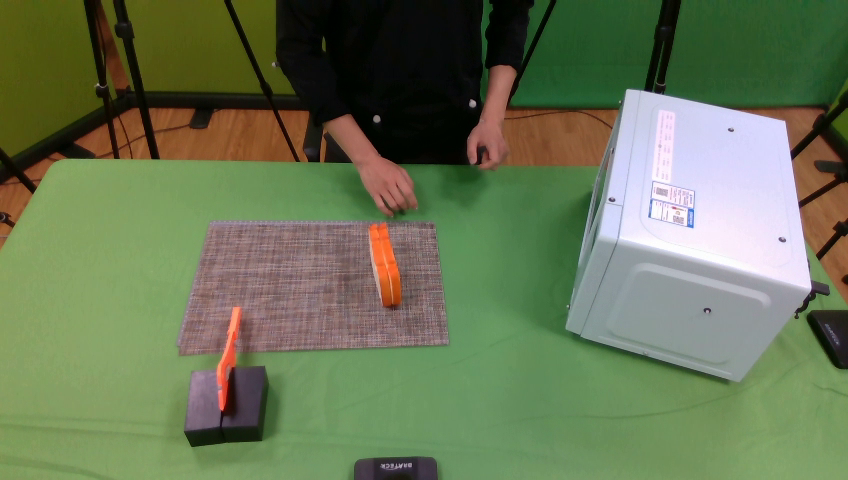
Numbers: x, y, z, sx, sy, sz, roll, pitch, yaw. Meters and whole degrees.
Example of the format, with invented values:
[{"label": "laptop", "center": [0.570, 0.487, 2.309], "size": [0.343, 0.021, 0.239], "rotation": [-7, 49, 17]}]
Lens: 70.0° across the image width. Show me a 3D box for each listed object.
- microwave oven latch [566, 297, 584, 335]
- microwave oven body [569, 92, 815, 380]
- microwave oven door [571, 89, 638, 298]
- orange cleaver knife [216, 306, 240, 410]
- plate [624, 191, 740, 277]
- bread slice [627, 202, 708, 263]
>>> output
[{"label": "microwave oven latch", "center": [0.268, 0.126, 1.059], "size": [0.030, 0.029, 0.079], "rotation": [16, 46, 12]}, {"label": "microwave oven body", "center": [0.468, -0.022, 1.082], "size": [0.325, 0.261, 0.440], "rotation": [15, 46, 11]}, {"label": "microwave oven door", "center": [0.343, -0.091, 1.133], "size": [0.039, 0.245, 0.354], "rotation": [15, 47, 10]}, {"label": "orange cleaver knife", "center": [-0.307, 0.180, 0.957], "size": [0.012, 0.077, 0.210], "rotation": [-2, 25, -8]}, {"label": "plate", "center": [0.482, -0.007, 1.147], "size": [0.208, 0.039, 0.206], "rotation": [0, 49, 0]}, {"label": "bread slice", "center": [0.474, -0.021, 1.168], "size": [0.134, 0.018, 0.106], "rotation": [-30, 55, -16]}]
